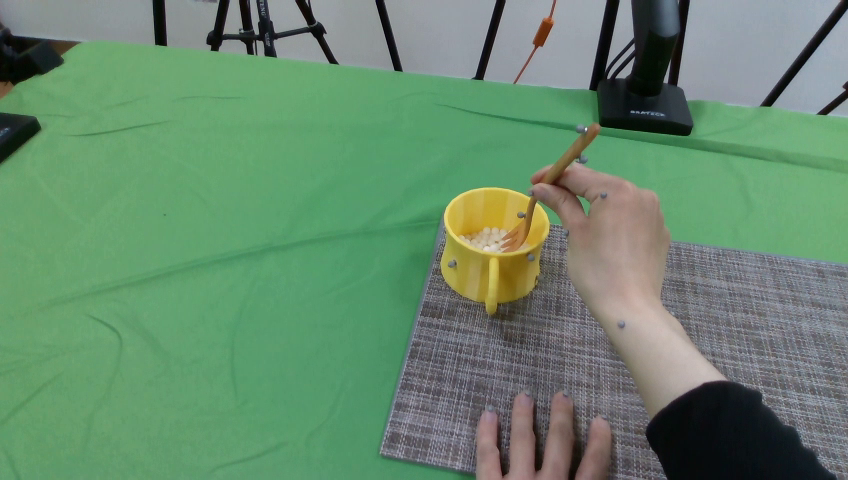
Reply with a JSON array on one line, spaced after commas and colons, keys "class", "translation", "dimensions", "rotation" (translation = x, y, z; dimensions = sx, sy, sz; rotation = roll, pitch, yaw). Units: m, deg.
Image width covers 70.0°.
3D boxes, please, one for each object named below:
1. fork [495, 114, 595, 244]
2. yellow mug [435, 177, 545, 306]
[{"class": "fork", "translation": [0.095, -0.043, 0.511], "dimensions": [0.018, 0.208, 0.028], "rotation": [14, 64, -3]}, {"class": "yellow mug", "translation": [0.061, 0.005, 0.575], "dimensions": [0.100, 0.064, 0.129], "rotation": [4, 44, 2]}]
